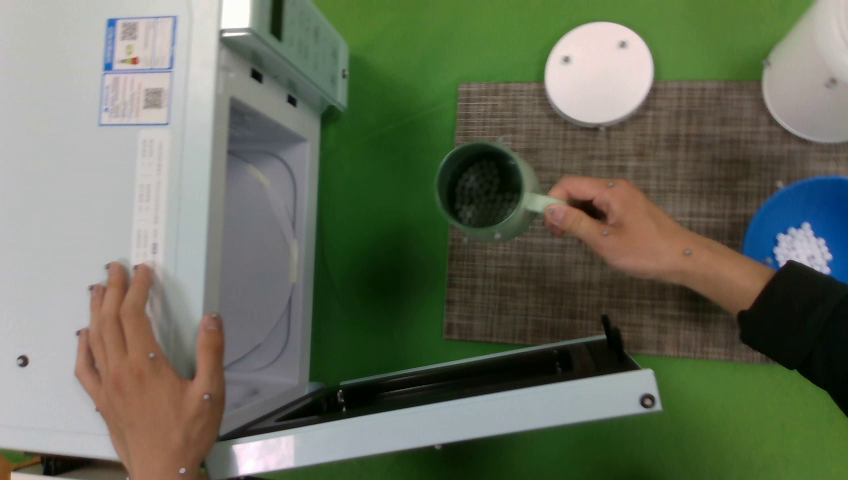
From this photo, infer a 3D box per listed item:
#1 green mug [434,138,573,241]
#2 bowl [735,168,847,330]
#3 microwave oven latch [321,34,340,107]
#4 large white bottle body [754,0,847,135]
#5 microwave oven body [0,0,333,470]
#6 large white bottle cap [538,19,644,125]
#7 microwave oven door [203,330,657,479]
[{"bbox_3d":[0.074,-0.042,0.557,0.125,0.105,0.092,15,92,13],"label":"green mug"},{"bbox_3d":[0.378,0.010,0.595,0.151,0.077,0.151,-1,87,12],"label":"bowl"},{"bbox_3d":[-0.114,-0.197,0.708,0.030,0.029,0.079,1,89,11],"label":"microwave oven latch"},{"bbox_3d":[0.393,-0.181,0.545,0.130,0.185,0.130,-1,83,11],"label":"large white bottle body"},{"bbox_3d":[-0.283,-0.027,0.637,0.325,0.261,0.441,1,88,11],"label":"microwave oven body"},{"bbox_3d":[0.185,-0.186,0.673,0.114,0.018,0.114,-1,87,11],"label":"large white bottle cap"},{"bbox_3d":[0.017,0.147,0.566,0.355,0.244,0.039,-13,84,11],"label":"microwave oven door"}]
